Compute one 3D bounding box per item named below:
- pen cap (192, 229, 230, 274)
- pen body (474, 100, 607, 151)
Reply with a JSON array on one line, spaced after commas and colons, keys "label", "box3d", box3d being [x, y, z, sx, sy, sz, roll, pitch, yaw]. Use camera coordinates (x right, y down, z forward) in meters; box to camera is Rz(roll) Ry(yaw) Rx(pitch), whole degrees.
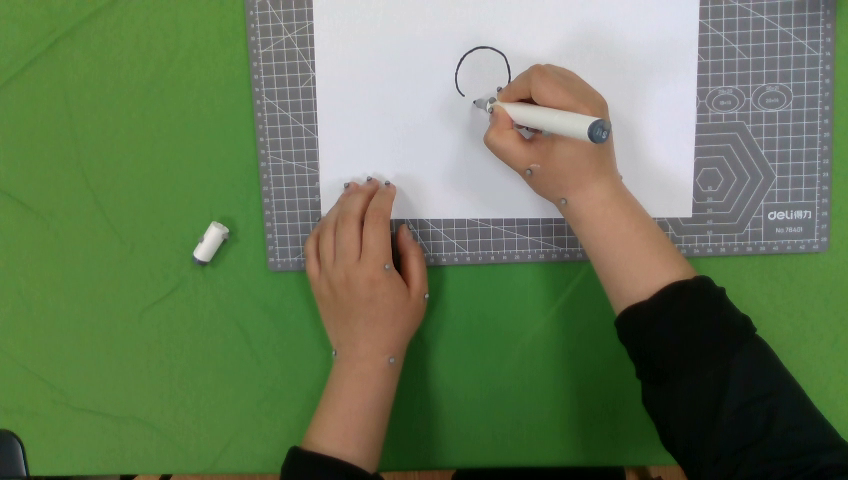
[{"label": "pen cap", "box3d": [-0.180, 0.011, 0.510, 0.017, 0.017, 0.038, 36, 98, 1]}, {"label": "pen body", "box3d": [0.074, -0.083, 0.425, 0.017, 0.142, 0.017, -11, 115, -25]}]
